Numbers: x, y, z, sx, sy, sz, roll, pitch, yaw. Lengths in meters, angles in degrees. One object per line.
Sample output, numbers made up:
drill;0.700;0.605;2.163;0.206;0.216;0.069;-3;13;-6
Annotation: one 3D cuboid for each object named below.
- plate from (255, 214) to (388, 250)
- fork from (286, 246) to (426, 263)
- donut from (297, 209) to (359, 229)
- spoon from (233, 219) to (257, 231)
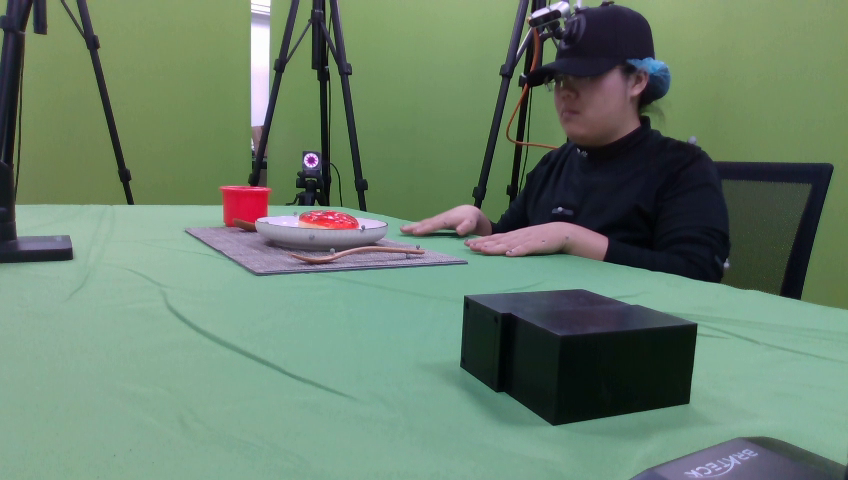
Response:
plate;-0.161;-0.013;0.961;0.209;0.038;0.209;2;7;0
fork;-0.085;0.019;0.813;0.208;0.018;0.028;-4;3;-34
donut;-0.151;-0.023;0.955;0.099;0.048;0.099;6;7;0
spoon;-0.250;-0.028;1.108;0.195;0.021;0.041;-2;-9;-29
